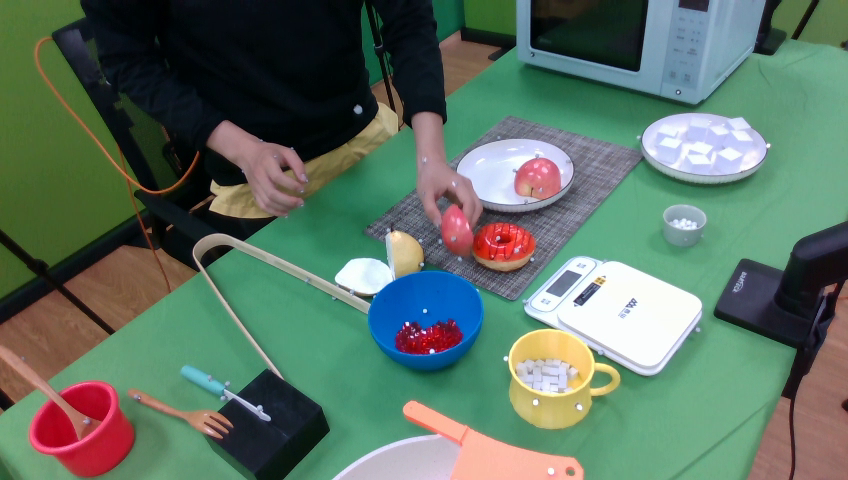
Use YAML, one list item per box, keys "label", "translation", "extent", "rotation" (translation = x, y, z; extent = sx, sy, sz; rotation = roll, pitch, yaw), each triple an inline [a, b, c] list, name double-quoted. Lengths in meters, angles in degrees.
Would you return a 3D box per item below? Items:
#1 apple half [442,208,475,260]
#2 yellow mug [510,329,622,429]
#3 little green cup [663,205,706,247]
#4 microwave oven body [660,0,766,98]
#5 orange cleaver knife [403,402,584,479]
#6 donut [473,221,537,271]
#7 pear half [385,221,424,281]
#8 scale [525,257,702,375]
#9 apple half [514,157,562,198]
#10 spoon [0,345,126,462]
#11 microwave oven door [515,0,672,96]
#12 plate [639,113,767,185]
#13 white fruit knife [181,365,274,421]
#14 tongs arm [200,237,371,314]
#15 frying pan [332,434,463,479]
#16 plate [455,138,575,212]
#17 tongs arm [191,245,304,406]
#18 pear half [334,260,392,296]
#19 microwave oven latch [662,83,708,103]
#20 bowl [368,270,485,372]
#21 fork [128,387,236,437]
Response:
- label: "apple half"
  translation: [0.043, -0.005, 0.888]
  extent: [0.033, 0.081, 0.080]
  rotation: [-20, 42, -16]
- label: "yellow mug"
  translation: [0.168, 0.164, 0.721]
  extent: [0.130, 0.064, 0.099]
  rotation: [0, 40, 8]
- label: "little green cup"
  translation: [0.396, -0.020, 0.926]
  extent: [0.061, 0.039, 0.061]
  rotation: [-4, 40, 4]
- label: "microwave oven body"
  translation: [0.472, -0.513, 1.317]
  extent: [0.438, 0.261, 0.327]
  rotation: [26, 51, 34]
- label: "orange cleaver knife"
  translation: [0.062, 0.222, 0.609]
  extent: [0.210, 0.012, 0.077]
  rotation: [15, 48, 25]
- label: "donut"
  translation: [0.123, 0.008, 0.923]
  extent: [0.099, 0.048, 0.098]
  rotation: [-3, 38, 3]
- label: "pear half"
  translation: [-0.030, 0.013, 0.896]
  extent: [0.056, 0.110, 0.075]
  rotation: [-16, 44, -12]
- label: "scale"
  translation: [0.254, 0.091, 0.821]
  extent: [0.199, 0.032, 0.149]
  rotation: [28, 51, 35]
- label: "apple half"
  translation: [0.196, -0.113, 1.032]
  extent: [0.080, 0.053, 0.075]
  rotation: [16, 44, 30]
- label: "spoon"
  translation: [-0.434, 0.192, 0.720]
  extent: [0.194, 0.021, 0.042]
  rotation: [47, 53, -7]
- label: "microwave oven door"
  translation: [0.343, -0.455, 1.259]
  extent: [0.353, 0.245, 0.039]
  rotation: [26, 51, 33]
- label: "plate"
  translation: [0.489, -0.157, 1.074]
  extent: [0.207, 0.039, 0.206]
  rotation: [-4, 40, 4]
- label: "white fruit knife"
  translation: [-0.245, 0.187, 0.747]
  extent: [0.205, 0.027, 0.016]
  rotation: [9, 41, 40]
- label: "tongs arm"
  translation: [-0.209, 0.063, 0.924]
  extent: [0.381, 0.027, 0.051]
  rotation: [23, 54, 32]
- label: "frying pan"
  translation: [-0.089, 0.306, 0.564]
  extent: [0.487, 0.103, 0.306]
  rotation: [10, 41, 7]
- label: "plate"
  translation: [0.159, -0.111, 1.063]
  extent: [0.209, 0.038, 0.208]
  rotation: [-4, 40, 4]
- label: "tongs arm"
  translation: [-0.268, 0.112, 0.883]
  extent: [0.028, 0.028, 0.384]
  rotation: [-37, 47, -17]
- label: "pear half"
  translation: [-0.093, 0.063, 0.907]
  extent: [0.088, 0.031, 0.070]
  rotation: [-9, 40, -24]
- label: "microwave oven latch"
  translation: [0.517, -0.296, 1.204]
  extent: [0.078, 0.029, 0.030]
  rotation: [27, 52, 35]
- label: "bowl"
  translation: [0.007, 0.118, 0.791]
  extent: [0.151, 0.077, 0.150]
  rotation: [-5, 39, 4]
- label: "fork"
  translation: [-0.305, 0.207, 0.744]
  extent: [0.206, 0.019, 0.028]
  rotation: [3, 41, 36]
